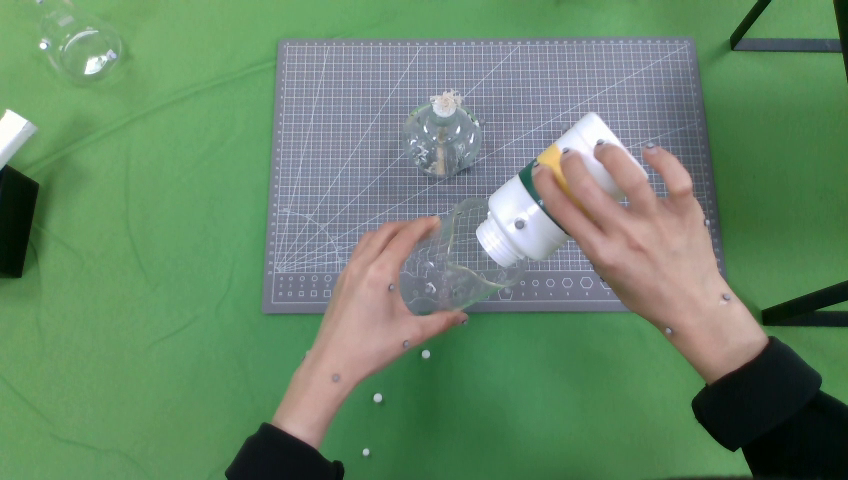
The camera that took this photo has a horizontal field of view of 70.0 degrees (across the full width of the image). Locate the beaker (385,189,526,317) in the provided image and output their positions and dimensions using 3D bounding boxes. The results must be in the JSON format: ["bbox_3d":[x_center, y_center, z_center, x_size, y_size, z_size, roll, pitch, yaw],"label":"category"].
[{"bbox_3d":[0.019,0.017,0.486,0.084,0.100,0.074,-26,83,-43],"label":"beaker"}]

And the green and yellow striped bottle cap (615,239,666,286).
[{"bbox_3d":[0.210,0.021,0.586,0.045,0.020,0.045,0,77,0],"label":"green and yellow striped bottle cap"}]

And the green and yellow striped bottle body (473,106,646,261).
[{"bbox_3d":[0.093,-0.035,0.440,0.120,0.063,0.063,-40,76,19],"label":"green and yellow striped bottle body"}]

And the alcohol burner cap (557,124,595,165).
[{"bbox_3d":[0.153,-0.098,0.603,0.034,0.048,0.033,0,75,0],"label":"alcohol burner cap"}]

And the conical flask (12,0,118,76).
[{"bbox_3d":[-0.367,-0.224,0.599,0.075,0.122,0.075,0,75,1],"label":"conical flask"}]

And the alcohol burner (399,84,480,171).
[{"bbox_3d":[0.015,-0.111,0.570,0.078,0.119,0.077,0,74,-1],"label":"alcohol burner"}]

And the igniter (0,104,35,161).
[{"bbox_3d":[-0.457,-0.009,0.544,0.057,0.025,0.276,29,77,17],"label":"igniter"}]
